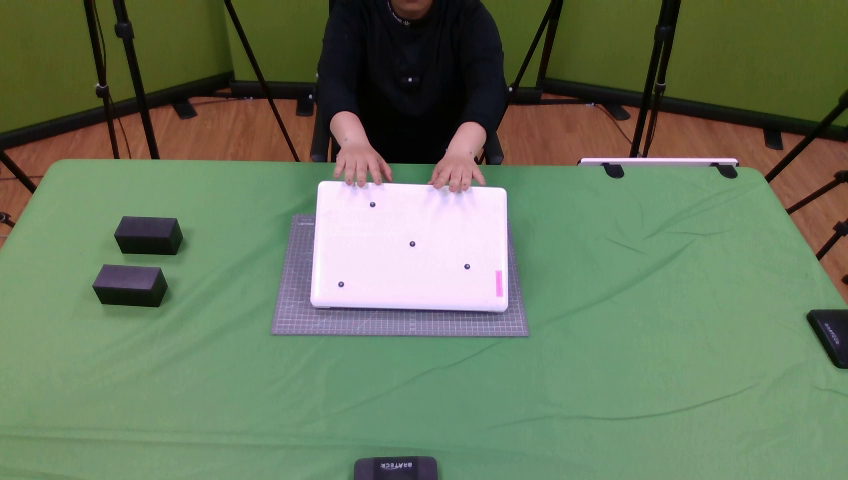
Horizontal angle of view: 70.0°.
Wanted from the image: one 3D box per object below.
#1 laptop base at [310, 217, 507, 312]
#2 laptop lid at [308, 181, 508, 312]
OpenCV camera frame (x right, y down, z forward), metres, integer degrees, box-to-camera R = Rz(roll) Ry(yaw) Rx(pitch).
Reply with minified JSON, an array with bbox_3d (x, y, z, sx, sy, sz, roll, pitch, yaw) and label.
[{"bbox_3d":[-0.028,0.045,1.154,0.354,0.023,0.234,2,43,-3],"label":"laptop base"},{"bbox_3d":[-0.024,0.008,1.092,0.357,0.013,0.240,3,74,-2],"label":"laptop lid"}]
